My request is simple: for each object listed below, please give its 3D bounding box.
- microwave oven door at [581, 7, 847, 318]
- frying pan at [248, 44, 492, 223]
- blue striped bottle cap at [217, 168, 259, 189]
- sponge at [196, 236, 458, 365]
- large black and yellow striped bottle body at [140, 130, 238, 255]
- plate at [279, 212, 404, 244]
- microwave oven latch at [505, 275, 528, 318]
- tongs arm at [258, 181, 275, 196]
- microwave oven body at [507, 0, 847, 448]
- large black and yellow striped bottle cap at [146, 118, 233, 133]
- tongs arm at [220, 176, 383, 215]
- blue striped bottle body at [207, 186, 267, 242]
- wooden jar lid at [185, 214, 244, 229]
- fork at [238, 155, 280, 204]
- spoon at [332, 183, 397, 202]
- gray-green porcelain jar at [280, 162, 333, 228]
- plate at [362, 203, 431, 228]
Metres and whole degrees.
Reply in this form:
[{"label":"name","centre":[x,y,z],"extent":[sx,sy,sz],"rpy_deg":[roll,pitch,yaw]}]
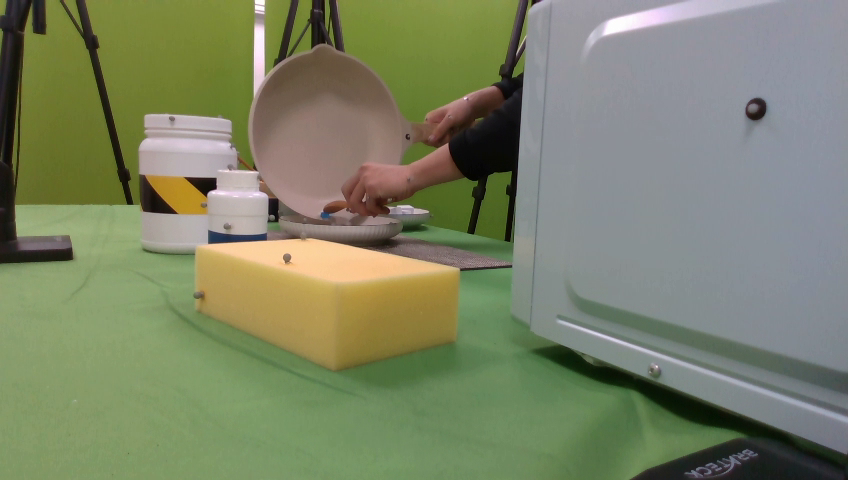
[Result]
[{"label":"microwave oven door","centre":[0.295,-0.067,0.569],"extent":[0.358,0.243,0.039],"rpy_deg":[-3,8,-31]},{"label":"frying pan","centre":[-0.082,-0.198,1.115],"extent":[0.490,0.306,0.102],"rpy_deg":[-9,12,-26]},{"label":"blue striped bottle cap","centre":[-0.202,-0.067,0.656],"extent":[0.044,0.020,0.044],"rpy_deg":[0,10,0]},{"label":"sponge","centre":[-0.087,0.039,0.500],"extent":[0.206,0.061,0.119],"rpy_deg":[8,9,44]},{"label":"large black and yellow striped bottle body","centre":[-0.336,-0.078,0.871],"extent":[0.131,0.184,0.130],"rpy_deg":[2,7,0]},{"label":"plate","centre":[-0.139,-0.022,1.020],"extent":[0.209,0.038,0.209],"rpy_deg":[2,8,0]},{"label":"microwave oven latch","centre":[0.100,0.041,0.472],"extent":[0.079,0.029,0.030],"rpy_deg":[-2,8,-30]},{"label":"tongs arm","centre":[-0.241,-0.095,1.373],"extent":[0.387,0.026,0.050],"rpy_deg":[9,0,-37]},{"label":"microwave oven body","centre":[0.331,-0.042,0.425],"extent":[0.444,0.260,0.324],"rpy_deg":[-2,8,-31]},{"label":"large black and yellow striped bottle cap","centre":[-0.333,-0.163,0.861],"extent":[0.115,0.019,0.115],"rpy_deg":[1,9,0]},{"label":"tongs arm","centre":[-0.285,-0.104,1.445],"extent":[0.389,0.027,0.028],"rpy_deg":[9,-4,-23]},{"label":"blue striped bottle body","centre":[-0.204,-0.016,0.663],"extent":[0.063,0.120,0.063],"rpy_deg":[2,7,0]},{"label":"wooden jar lid","centre":[-0.404,-0.037,1.169],"extent":[0.108,0.020,0.108],"rpy_deg":[3,7,0]},{"label":"fork","centre":[-0.396,-0.143,1.486],"extent":[0.028,0.018,0.208],"rpy_deg":[20,-26,45]},{"label":"spoon","centre":[-0.097,-0.074,0.996],"extent":[0.042,0.021,0.192],"rpy_deg":[28,-5,-36]},{"label":"gray-green porcelain jar","centre":[-0.238,-0.092,1.221],"extent":[0.106,0.126,0.106],"rpy_deg":[2,8,0]},{"label":"plate","centre":[-0.089,-0.053,1.309],"extent":[0.208,0.039,0.207],"rpy_deg":[2,8,0]}]
